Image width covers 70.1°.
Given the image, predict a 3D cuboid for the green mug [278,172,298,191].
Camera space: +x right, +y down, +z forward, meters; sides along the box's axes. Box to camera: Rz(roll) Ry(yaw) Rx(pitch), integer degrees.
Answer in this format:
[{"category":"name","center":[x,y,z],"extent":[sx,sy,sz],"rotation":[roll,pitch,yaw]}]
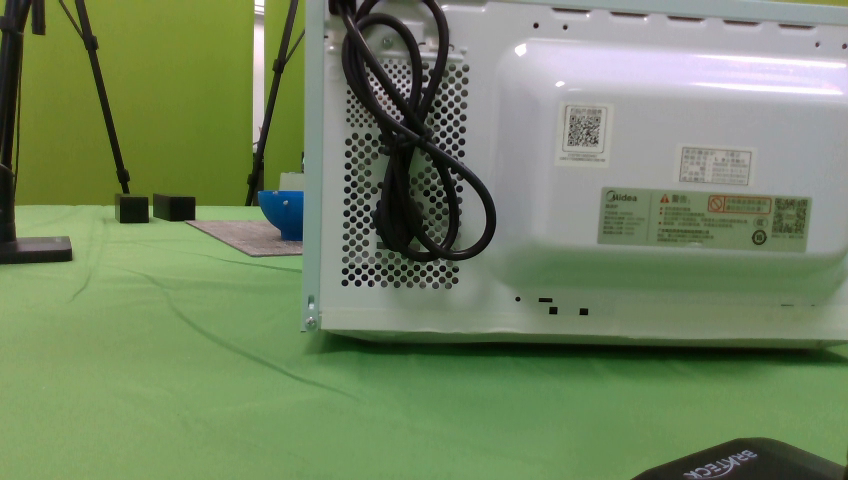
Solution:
[{"category":"green mug","center":[-0.250,-0.089,1.279],"extent":[0.092,0.105,0.126],"rotation":[9,9,40]}]

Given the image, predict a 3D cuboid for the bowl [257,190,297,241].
[{"category":"bowl","center":[-0.206,-0.041,1.027],"extent":[0.151,0.077,0.151],"rotation":[3,8,0]}]

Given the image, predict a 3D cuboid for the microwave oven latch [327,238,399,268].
[{"category":"microwave oven latch","center":[-0.069,0.015,0.694],"extent":[0.079,0.029,0.030],"rotation":[3,7,-3]}]

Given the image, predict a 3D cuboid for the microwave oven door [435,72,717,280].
[{"category":"microwave oven door","center":[0.180,-0.089,0.795],"extent":[0.354,0.243,0.039],"rotation":[6,7,30]}]

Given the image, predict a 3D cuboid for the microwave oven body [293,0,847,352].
[{"category":"microwave oven body","center":[0.122,-0.055,0.550],"extent":[0.442,0.260,0.325],"rotation":[3,7,-5]}]
